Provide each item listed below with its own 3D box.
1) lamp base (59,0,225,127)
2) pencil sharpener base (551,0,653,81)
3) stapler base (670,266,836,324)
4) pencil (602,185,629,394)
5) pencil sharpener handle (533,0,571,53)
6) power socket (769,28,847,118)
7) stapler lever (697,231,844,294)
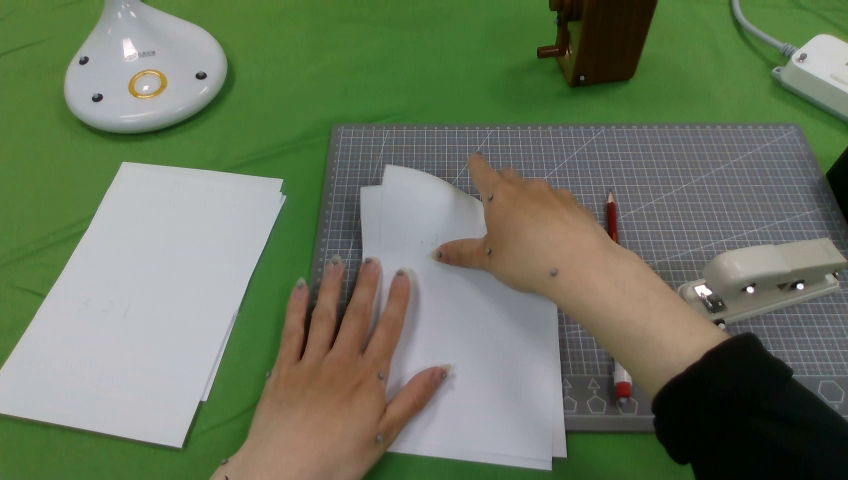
[{"bbox_3d":[-0.292,-0.226,0.558,0.161,0.182,0.177,-27,57,-17],"label":"lamp base"},{"bbox_3d":[0.169,-0.217,0.592,0.077,0.108,0.060,-10,56,-5],"label":"pencil sharpener base"},{"bbox_3d":[0.258,0.029,0.469,0.131,0.024,0.041,-13,58,-10],"label":"stapler base"},{"bbox_3d":[0.149,0.029,0.479,0.012,0.012,0.192,5,54,5],"label":"pencil"},{"bbox_3d":[0.119,-0.212,0.572,0.031,0.068,0.035,-10,33,-5],"label":"pencil sharpener handle"},{"bbox_3d":[0.448,-0.131,0.575,0.072,0.033,0.224,-36,62,-22],"label":"power socket"},{"bbox_3d":[0.259,0.013,0.449,0.118,0.040,0.026,-14,57,-10],"label":"stapler lever"}]
